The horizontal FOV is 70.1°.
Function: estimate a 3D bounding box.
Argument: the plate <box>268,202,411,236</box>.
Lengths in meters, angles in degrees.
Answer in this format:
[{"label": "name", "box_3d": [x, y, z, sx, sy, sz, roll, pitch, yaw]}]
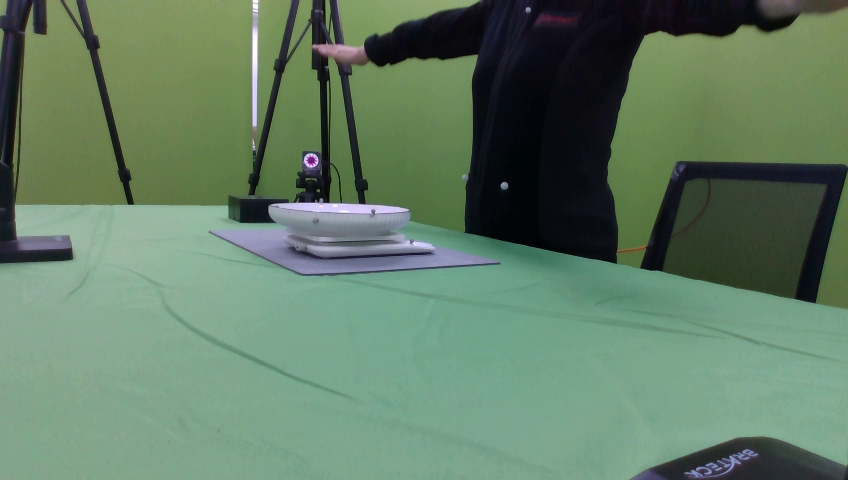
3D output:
[{"label": "plate", "box_3d": [-0.123, -0.032, 0.894, 0.209, 0.038, 0.209, 2, 7, 0]}]

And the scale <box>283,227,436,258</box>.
[{"label": "scale", "box_3d": [-0.098, 0.000, 0.914, 0.202, 0.031, 0.148, -2, 9, -33]}]
